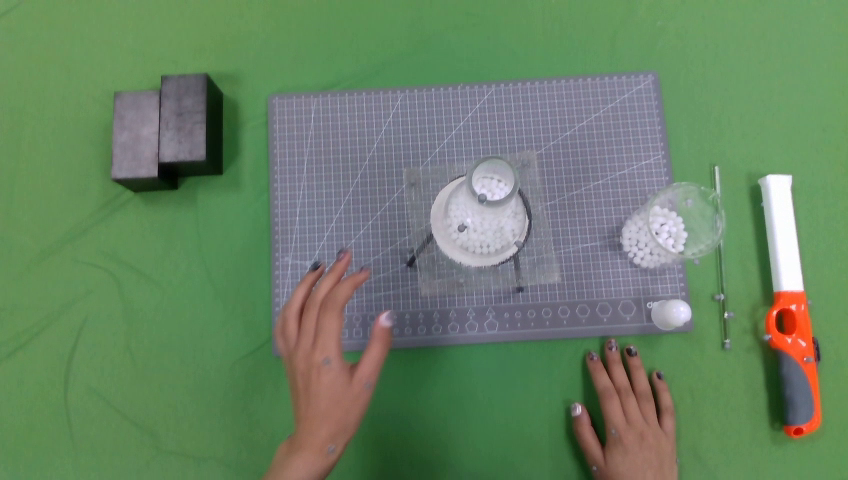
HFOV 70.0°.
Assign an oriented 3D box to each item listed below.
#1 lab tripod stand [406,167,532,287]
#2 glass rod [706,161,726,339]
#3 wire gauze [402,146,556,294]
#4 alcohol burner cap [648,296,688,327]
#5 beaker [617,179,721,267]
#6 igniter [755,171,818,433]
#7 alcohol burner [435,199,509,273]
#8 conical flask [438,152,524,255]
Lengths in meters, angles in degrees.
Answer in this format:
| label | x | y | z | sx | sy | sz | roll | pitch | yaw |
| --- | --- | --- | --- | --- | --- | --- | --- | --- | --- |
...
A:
| label | x | y | z | sx | sy | sz | roll | pitch | yaw |
| --- | --- | --- | --- | --- | --- | --- | --- | --- | --- |
| lab tripod stand | 0.049 | -0.008 | 0.602 | 0.148 | 0.132 | 0.148 | 0 | 81 | 1 |
| glass rod | 0.320 | 0.009 | 0.664 | 0.008 | 0.008 | 0.199 | 0 | 79 | 0 |
| wire gauze | 0.048 | -0.017 | 0.537 | 0.125 | 0.011 | 0.121 | -7 | 82 | -3 |
| alcohol burner cap | 0.257 | 0.073 | 0.632 | 0.034 | 0.048 | 0.033 | 0 | 80 | 2 |
| beaker | 0.247 | -0.014 | 0.618 | 0.084 | 0.100 | 0.074 | -40 | 81 | -7 |
| igniter | 0.383 | 0.062 | 0.643 | 0.057 | 0.025 | 0.275 | 1 | 80 | -9 |
| alcohol burner | 0.049 | -0.008 | 0.612 | 0.078 | 0.119 | 0.077 | 0 | 78 | 2 |
| conical flask | 0.048 | -0.033 | 0.479 | 0.075 | 0.122 | 0.075 | 0 | 79 | 2 |
